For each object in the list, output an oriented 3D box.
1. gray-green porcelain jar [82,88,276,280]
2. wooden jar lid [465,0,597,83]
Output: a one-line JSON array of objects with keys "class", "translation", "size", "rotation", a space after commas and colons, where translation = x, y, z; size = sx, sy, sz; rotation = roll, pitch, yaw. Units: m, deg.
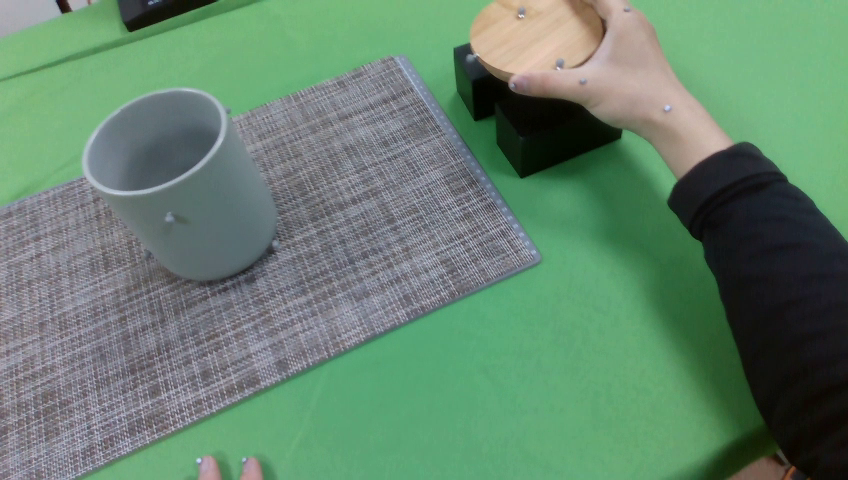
[{"class": "gray-green porcelain jar", "translation": [-0.182, -0.037, 0.478], "size": [0.106, 0.128, 0.105], "rotation": [-4, 55, 6]}, {"class": "wooden jar lid", "translation": [0.088, -0.169, 0.505], "size": [0.108, 0.021, 0.107], "rotation": [-3, 58, 5]}]
